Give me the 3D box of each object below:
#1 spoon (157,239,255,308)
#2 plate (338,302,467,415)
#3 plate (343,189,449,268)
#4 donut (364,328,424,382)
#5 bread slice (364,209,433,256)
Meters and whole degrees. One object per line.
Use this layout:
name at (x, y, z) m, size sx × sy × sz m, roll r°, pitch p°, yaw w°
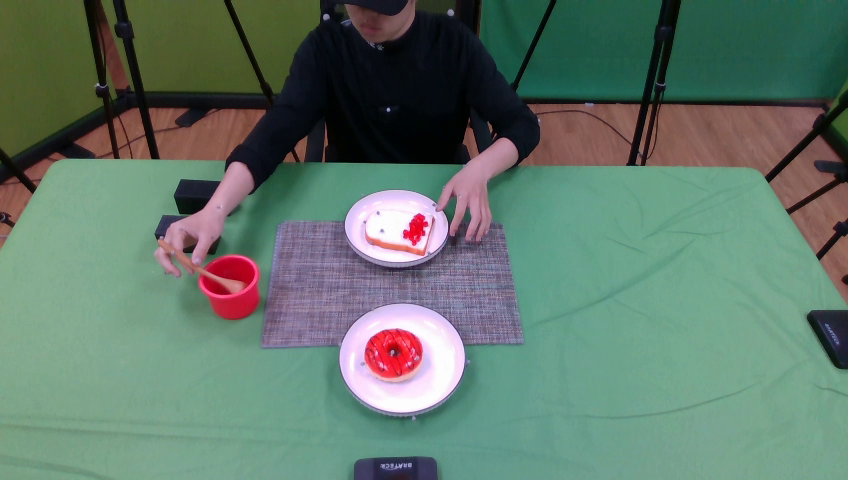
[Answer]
spoon at (-0.364, 0.057, 1.022) m, size 0.194 × 0.021 × 0.041 m, roll 36°, pitch 42°, yaw -25°
plate at (-0.035, 0.194, 0.992) m, size 0.208 × 0.039 × 0.206 m, roll 2°, pitch 48°, yaw -2°
plate at (-0.055, -0.020, 1.195) m, size 0.209 × 0.038 × 0.208 m, roll 2°, pitch 46°, yaw -2°
donut at (-0.049, 0.185, 0.984) m, size 0.099 × 0.048 × 0.098 m, roll 1°, pitch 45°, yaw -1°
bread slice at (-0.053, -0.020, 1.199) m, size 0.131 × 0.019 × 0.104 m, roll 10°, pitch 46°, yaw 4°
